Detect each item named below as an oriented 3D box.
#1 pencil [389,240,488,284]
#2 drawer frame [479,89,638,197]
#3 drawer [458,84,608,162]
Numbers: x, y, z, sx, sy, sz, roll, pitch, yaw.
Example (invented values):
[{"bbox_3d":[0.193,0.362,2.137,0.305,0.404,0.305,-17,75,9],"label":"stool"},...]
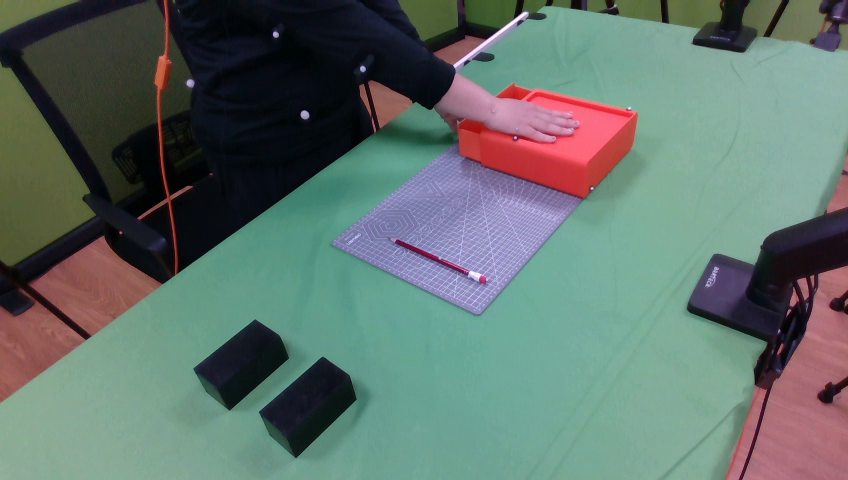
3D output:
[{"bbox_3d":[0.017,0.030,0.938,0.192,0.012,0.012,22,48,32],"label":"pencil"},{"bbox_3d":[0.243,-0.183,1.102,0.212,0.083,0.202,23,47,31],"label":"drawer frame"},{"bbox_3d":[0.202,-0.202,1.127,0.210,0.073,0.195,24,48,31],"label":"drawer"}]
